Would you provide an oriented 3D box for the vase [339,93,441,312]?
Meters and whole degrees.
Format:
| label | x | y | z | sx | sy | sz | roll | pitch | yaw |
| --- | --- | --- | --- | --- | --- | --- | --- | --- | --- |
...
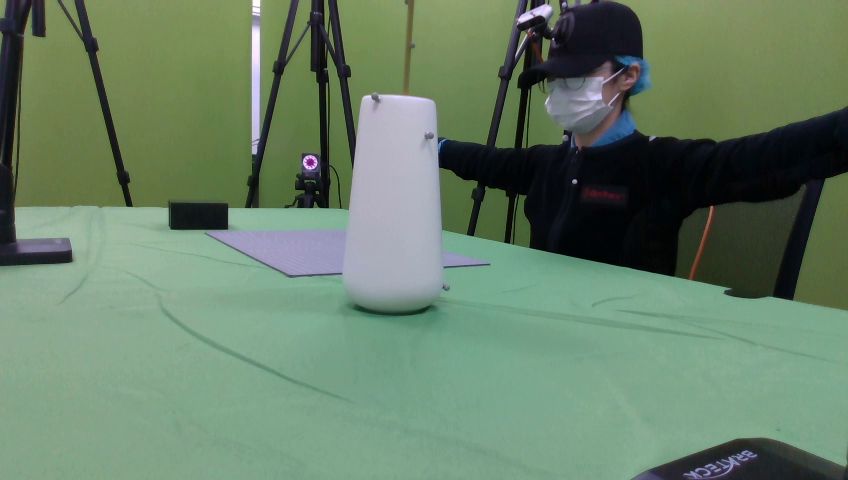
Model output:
| label | x | y | z | sx | sy | sz | roll | pitch | yaw |
| --- | --- | --- | --- | --- | --- | --- | --- | --- | --- |
| vase | -0.032 | -0.035 | 0.577 | 0.098 | 0.200 | 0.098 | 0 | 7 | 0 |

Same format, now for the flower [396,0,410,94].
| label | x | y | z | sx | sy | sz | roll | pitch | yaw |
| --- | --- | --- | --- | --- | --- | --- | --- | --- | --- |
| flower | -0.023 | -0.113 | 0.546 | 0.044 | 0.361 | 0.038 | 7 | 25 | 1 |
